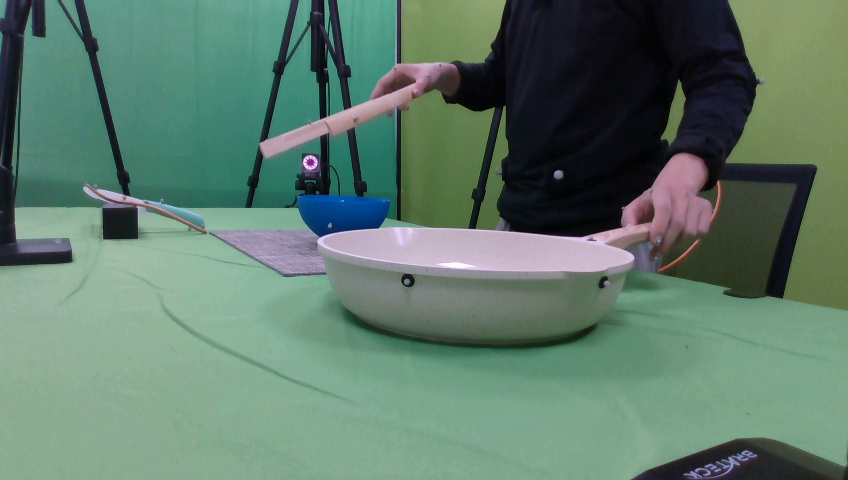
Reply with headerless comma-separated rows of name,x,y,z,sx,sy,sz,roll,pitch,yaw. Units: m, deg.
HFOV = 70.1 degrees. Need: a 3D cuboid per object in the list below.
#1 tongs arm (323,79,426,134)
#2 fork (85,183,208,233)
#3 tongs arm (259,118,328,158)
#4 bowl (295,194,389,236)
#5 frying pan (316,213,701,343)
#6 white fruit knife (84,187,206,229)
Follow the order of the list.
tongs arm,-0.070,-0.233,1.022,0.028,0.028,0.388,-20,13,29
fork,-0.462,-0.051,1.020,0.208,0.018,0.028,22,-8,-37
tongs arm,-0.132,-0.220,1.066,0.050,0.026,0.386,-12,16,39
bowl,-0.132,-0.032,0.980,0.151,0.077,0.151,2,7,0
frying pan,0.133,0.013,0.629,0.490,0.102,0.305,-12,14,-30
white fruit knife,-0.488,-0.059,1.071,0.208,0.027,0.016,17,4,-33
